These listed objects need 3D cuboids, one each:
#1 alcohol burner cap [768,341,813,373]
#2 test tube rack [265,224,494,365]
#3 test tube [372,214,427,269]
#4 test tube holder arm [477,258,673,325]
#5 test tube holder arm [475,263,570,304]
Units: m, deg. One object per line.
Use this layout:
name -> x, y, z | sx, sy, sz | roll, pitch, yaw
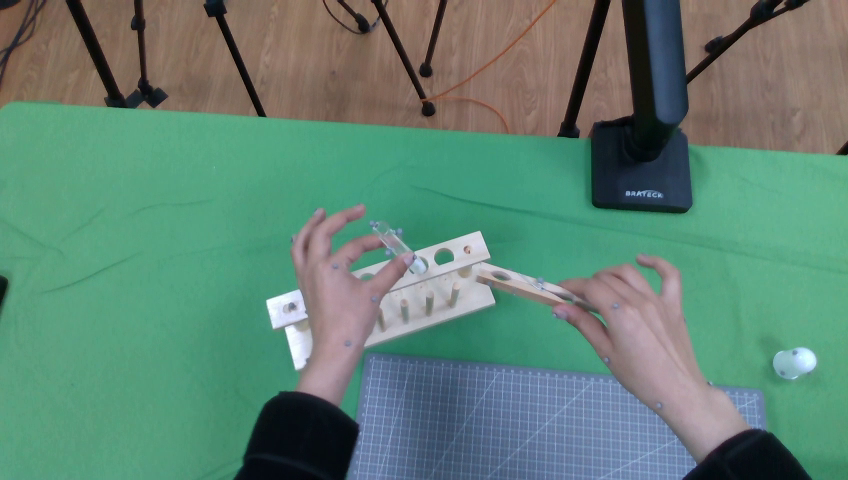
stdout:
alcohol burner cap -> 0.411, 0.129, 0.675 | 0.034, 0.048, 0.033 | 0, 69, 1
test tube rack -> -0.043, 0.063, 0.681 | 0.242, 0.086, 0.066 | -18, 70, -6
test tube -> -0.020, 0.007, 0.599 | 0.017, 0.151, 0.017 | -5, 71, 14
test tube holder arm -> 0.134, 0.047, 0.546 | 0.178, 0.015, 0.013 | 15, 65, 5
test tube holder arm -> 0.089, 0.039, 0.548 | 0.087, 0.015, 0.010 | 16, 65, 6
